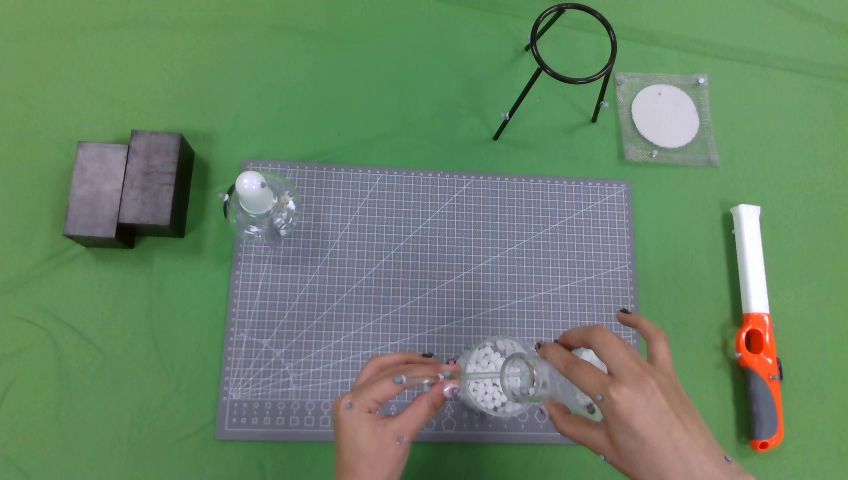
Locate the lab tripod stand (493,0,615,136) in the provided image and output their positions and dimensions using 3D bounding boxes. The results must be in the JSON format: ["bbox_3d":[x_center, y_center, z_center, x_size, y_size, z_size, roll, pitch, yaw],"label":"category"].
[{"bbox_3d":[0.142,-0.184,0.671,0.148,0.132,0.147,1,79,-6],"label":"lab tripod stand"}]

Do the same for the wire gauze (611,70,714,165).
[{"bbox_3d":[0.295,-0.153,0.745,0.125,0.011,0.121,1,77,-8],"label":"wire gauze"}]

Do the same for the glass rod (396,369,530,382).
[{"bbox_3d":[0.042,0.113,0.508,0.008,0.201,0.008,-8,77,36],"label":"glass rod"}]

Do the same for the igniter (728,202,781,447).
[{"bbox_3d":[0.374,0.091,0.688,0.057,0.025,0.275,6,76,-16],"label":"igniter"}]

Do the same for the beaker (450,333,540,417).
[{"bbox_3d":[0.069,0.133,0.605,0.084,0.100,0.074,-40,84,-14],"label":"beaker"}]

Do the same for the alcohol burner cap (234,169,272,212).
[{"bbox_3d":[-0.164,-0.050,0.577,0.034,0.048,0.033,3,69,-7],"label":"alcohol burner cap"}]

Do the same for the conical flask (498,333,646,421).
[{"bbox_3d":[0.116,0.111,0.494,0.123,0.075,0.075,10,73,-35],"label":"conical flask"}]

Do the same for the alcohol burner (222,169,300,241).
[{"bbox_3d":[-0.167,-0.040,0.611,0.078,0.119,0.077,1,77,-4],"label":"alcohol burner"}]
